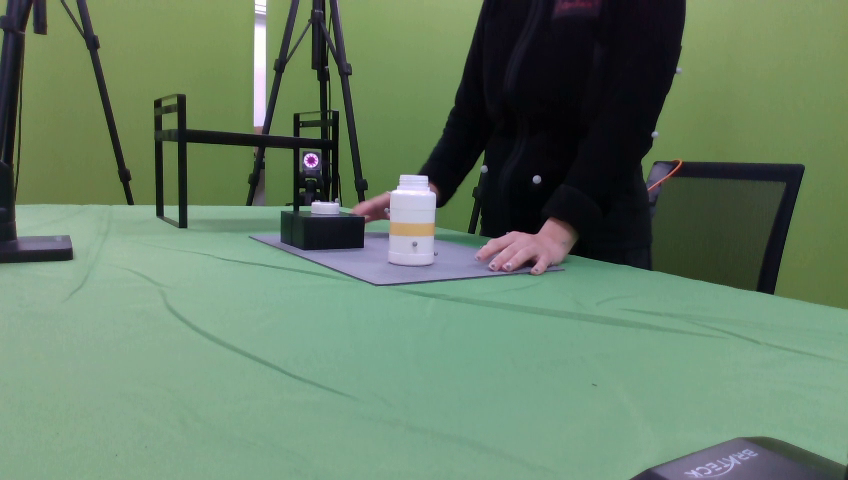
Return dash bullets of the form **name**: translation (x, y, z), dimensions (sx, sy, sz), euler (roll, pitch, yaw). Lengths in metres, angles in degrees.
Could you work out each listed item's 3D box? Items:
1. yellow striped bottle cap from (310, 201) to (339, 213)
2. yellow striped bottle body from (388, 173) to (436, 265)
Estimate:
- **yellow striped bottle cap**: translation (-0.157, -0.051, 0.956), dimensions (0.044, 0.018, 0.044), euler (4, 6, 0)
- **yellow striped bottle body**: translation (-0.016, -0.030, 0.813), dimensions (0.063, 0.120, 0.063), euler (2, 7, 0)
